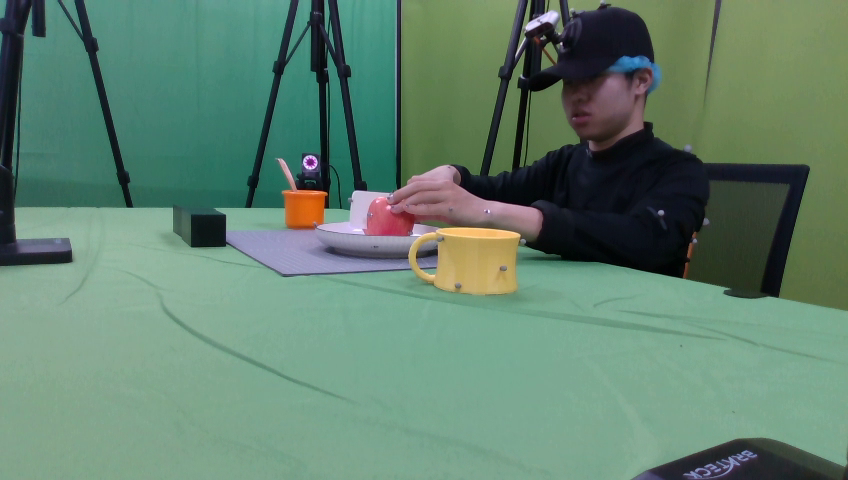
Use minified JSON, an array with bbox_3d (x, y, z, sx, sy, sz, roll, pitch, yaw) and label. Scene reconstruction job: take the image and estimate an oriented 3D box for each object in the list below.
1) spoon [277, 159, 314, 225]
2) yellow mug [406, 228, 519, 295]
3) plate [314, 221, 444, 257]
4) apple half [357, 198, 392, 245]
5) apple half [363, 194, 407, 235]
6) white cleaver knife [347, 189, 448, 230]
[{"bbox_3d":[-0.272,-0.103,1.260,0.042,0.193,0.021,-4,-34,-33],"label":"spoon"},{"bbox_3d":[0.044,0.022,0.707,0.131,0.064,0.100,2,7,5],"label":"yellow mug"},{"bbox_3d":[-0.066,-0.002,0.948,0.209,0.038,0.209,3,7,0],"label":"plate"},{"bbox_3d":[-0.084,-0.029,0.952,0.032,0.081,0.081,0,5,32],"label":"apple half"},{"bbox_3d":[-0.055,-0.030,0.940,0.053,0.074,0.081,22,3,17],"label":"apple half"},{"bbox_3d":[-0.039,-0.050,0.998,0.021,0.066,0.288,8,7,32],"label":"white cleaver knife"}]
